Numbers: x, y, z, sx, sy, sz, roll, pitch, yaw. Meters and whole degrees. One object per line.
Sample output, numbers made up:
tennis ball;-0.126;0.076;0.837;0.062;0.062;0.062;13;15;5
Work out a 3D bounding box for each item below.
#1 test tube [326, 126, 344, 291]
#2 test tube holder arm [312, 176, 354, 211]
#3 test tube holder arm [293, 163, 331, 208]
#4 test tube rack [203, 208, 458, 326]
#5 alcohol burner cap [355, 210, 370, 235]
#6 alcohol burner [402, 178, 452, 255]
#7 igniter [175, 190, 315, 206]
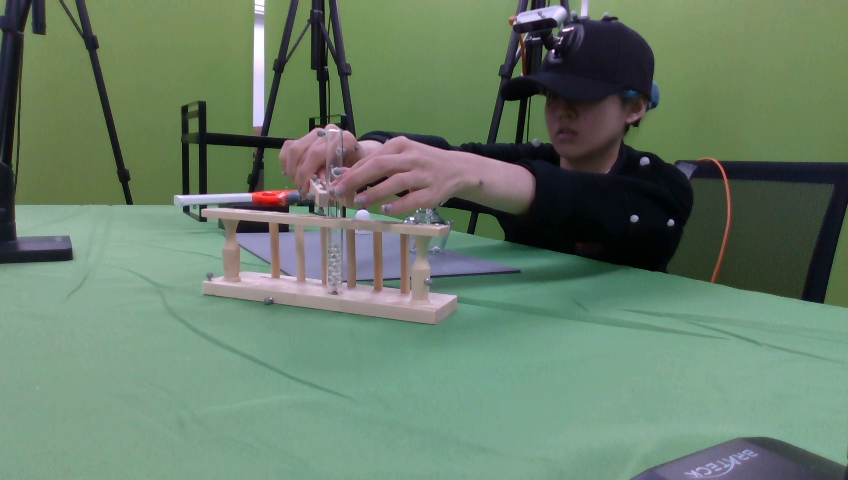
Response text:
test tube;-0.081;-0.027;0.549;0.017;0.150;0.017;2;9;0
test tube holder arm;-0.093;-0.046;0.582;0.010;0.015;0.087;3;16;-38
test tube holder arm;-0.117;-0.059;0.617;0.013;0.015;0.177;9;13;-24
test tube rack;-0.090;0.019;0.579;0.241;0.085;0.067;5;7;19
alcohol burner cap;-0.117;-0.033;1.136;0.034;0.048;0.034;1;7;0
alcohol burner;0.005;-0.036;0.922;0.078;0.119;0.078;4;7;0
igniter;-0.315;-0.079;1.128;0.278;0.025;0.057;-5;13;-34
